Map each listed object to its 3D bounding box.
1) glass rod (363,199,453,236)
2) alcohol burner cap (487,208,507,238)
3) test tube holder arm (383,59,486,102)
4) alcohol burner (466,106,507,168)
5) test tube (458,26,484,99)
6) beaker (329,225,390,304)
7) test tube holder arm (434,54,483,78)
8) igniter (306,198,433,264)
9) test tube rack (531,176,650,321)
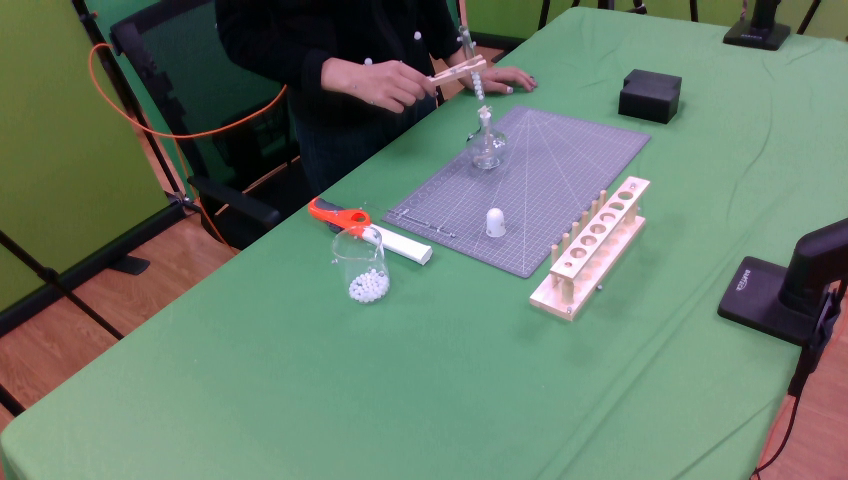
[{"bbox_3d":[-0.031,-0.041,1.041,0.198,0.008,0.008,22,50,31],"label":"glass rod"},{"bbox_3d":[0.116,-0.030,0.975,0.034,0.048,0.033,-6,40,5],"label":"alcohol burner cap"},{"bbox_3d":[0.018,-0.263,0.999,0.178,0.015,0.013,-21,51,-3],"label":"test tube holder arm"},{"bbox_3d":[0.115,-0.193,1.112,0.078,0.119,0.077,-4,41,4],"label":"alcohol burner"},{"bbox_3d":[0.081,-0.291,1.005,0.017,0.151,0.017,-8,55,13],"label":"test tube"},{"bbox_3d":[-0.089,0.040,0.890,0.074,0.101,0.083,-32,45,-24],"label":"beaker"},{"bbox_3d":[0.058,-0.285,1.006,0.088,0.015,0.010,-27,52,-8],"label":"test tube holder arm"},{"bbox_3d":[-0.102,-0.020,1.019,0.274,0.025,0.057,22,59,32],"label":"igniter"},{"bbox_3d":[0.246,0.002,0.884,0.066,0.085,0.243,22,49,32],"label":"test tube rack"}]
